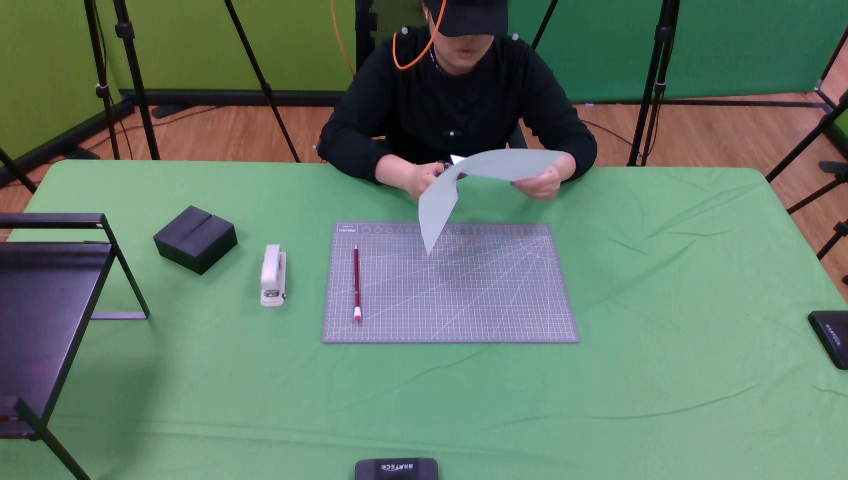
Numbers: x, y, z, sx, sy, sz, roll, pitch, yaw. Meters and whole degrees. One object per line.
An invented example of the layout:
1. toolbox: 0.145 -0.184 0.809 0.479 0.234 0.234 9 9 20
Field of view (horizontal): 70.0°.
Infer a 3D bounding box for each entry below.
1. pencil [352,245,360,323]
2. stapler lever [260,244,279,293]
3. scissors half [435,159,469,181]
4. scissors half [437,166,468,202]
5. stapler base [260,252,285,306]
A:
1. pencil: -0.127 0.076 1.120 0.012 0.012 0.192 -2 44 -7
2. stapler lever: -0.279 0.045 1.096 0.027 0.040 0.117 -2 44 -9
3. scissors half: 0.054 -0.133 1.172 0.013 0.040 0.174 -4 14 -18
4. scissors half: 0.056 -0.111 1.172 0.013 0.175 0.040 -10 78 -18
5. stapler base: -0.279 0.064 1.113 0.041 0.024 0.129 -2 44 -9
